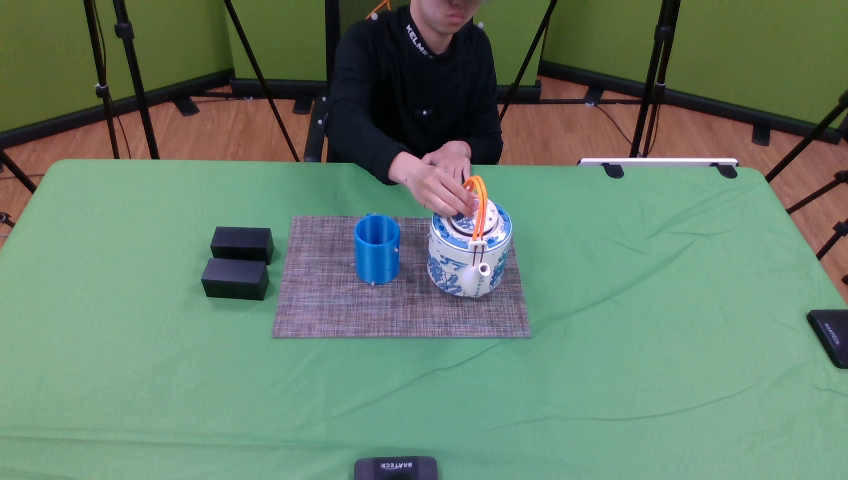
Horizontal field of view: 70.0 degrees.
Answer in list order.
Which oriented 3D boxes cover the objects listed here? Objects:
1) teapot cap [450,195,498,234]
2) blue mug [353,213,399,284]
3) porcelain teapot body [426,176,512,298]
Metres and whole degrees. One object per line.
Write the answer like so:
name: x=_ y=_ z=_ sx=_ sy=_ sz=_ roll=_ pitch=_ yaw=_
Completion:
teapot cap: x=0.086 y=-0.048 z=1.039 sx=0.085 sy=0.044 sz=0.084 roll=-2 pitch=56 yaw=3
blue mug: x=-0.093 y=0.006 z=1.123 sx=0.082 sy=0.106 sz=0.115 roll=-11 pitch=48 yaw=-15
porcelain teapot body: x=0.085 y=0.009 z=1.051 sx=0.145 sy=0.226 sz=0.204 roll=-5 pitch=47 yaw=-9
